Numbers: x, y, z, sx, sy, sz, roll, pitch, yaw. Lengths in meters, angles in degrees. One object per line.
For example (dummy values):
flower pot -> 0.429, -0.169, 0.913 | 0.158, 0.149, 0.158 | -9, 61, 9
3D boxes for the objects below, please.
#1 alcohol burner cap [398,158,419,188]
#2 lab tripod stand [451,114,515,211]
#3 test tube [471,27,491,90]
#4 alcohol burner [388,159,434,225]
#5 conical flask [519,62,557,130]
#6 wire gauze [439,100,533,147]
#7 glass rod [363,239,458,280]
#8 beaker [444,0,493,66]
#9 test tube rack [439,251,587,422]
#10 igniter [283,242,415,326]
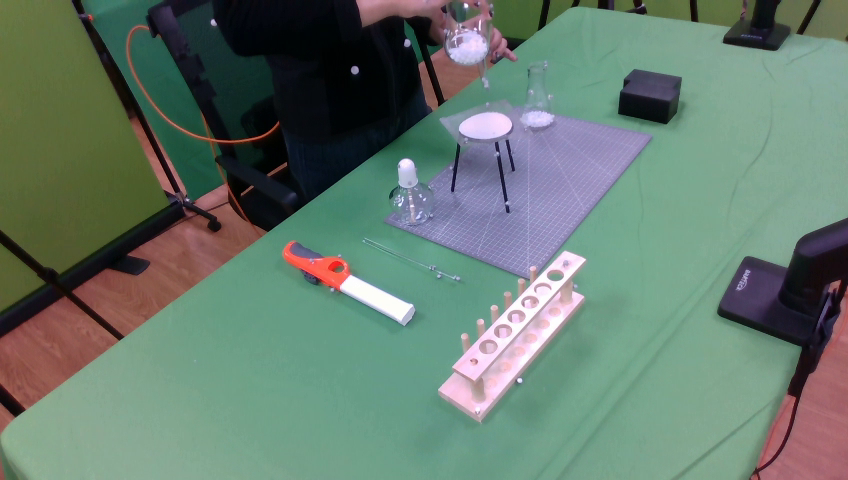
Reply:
alcohol burner cap -> -0.027, -0.111, 0.989 | 0.034, 0.048, 0.033 | -3, 47, 4
lab tripod stand -> 0.113, -0.140, 1.037 | 0.148, 0.132, 0.147 | -6, 38, 5
test tube -> 0.101, -0.316, 1.067 | 0.017, 0.151, 0.017 | -6, 64, 12
alcohol burner -> -0.023, -0.085, 1.013 | 0.078, 0.119, 0.077 | -4, 39, 4
conical flask -> 0.225, -0.287, 1.198 | 0.075, 0.122, 0.075 | -6, 40, 5
wire gauze -> 0.100, -0.190, 0.994 | 0.125, 0.011, 0.120 | -15, 39, -7
glass rod -> -0.026, 0.029, 0.966 | 0.198, 0.008, 0.008 | 21, 49, 35
beaker -> 0.069, -0.328, 0.946 | 0.074, 0.084, 0.100 | -4, 57, 17
test tube rack -> 0.118, 0.111, 0.780 | 0.066, 0.085, 0.243 | 26, 51, 35
igniter -> -0.126, 0.062, 0.931 | 0.274, 0.025, 0.057 | 24, 61, 33
